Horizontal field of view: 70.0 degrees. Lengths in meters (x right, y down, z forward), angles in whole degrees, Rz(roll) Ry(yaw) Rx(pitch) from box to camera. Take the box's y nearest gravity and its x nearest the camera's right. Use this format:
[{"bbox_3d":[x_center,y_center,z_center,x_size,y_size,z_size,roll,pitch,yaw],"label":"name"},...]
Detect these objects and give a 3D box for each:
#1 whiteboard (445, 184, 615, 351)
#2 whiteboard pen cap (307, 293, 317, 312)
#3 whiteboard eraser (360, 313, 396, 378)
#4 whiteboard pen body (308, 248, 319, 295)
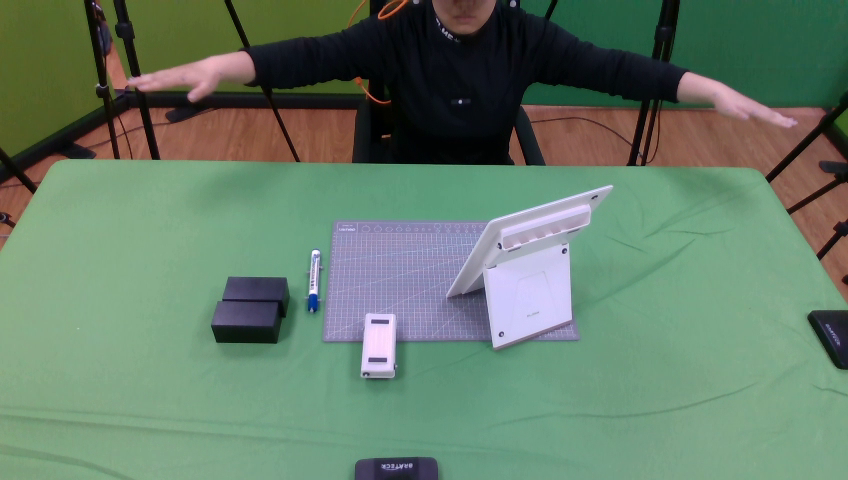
[{"bbox_3d":[0.186,0.065,0.989,0.217,0.306,0.143,-15,68,-18],"label":"whiteboard"},{"bbox_3d":[-0.199,0.110,1.078,0.018,0.018,0.033,-1,48,-5],"label":"whiteboard pen cap"},{"bbox_3d":[-0.075,0.176,1.006,0.055,0.042,0.112,3,50,-4],"label":"whiteboard eraser"},{"bbox_3d":[-0.204,0.069,1.119,0.017,0.017,0.140,-1,46,-5],"label":"whiteboard pen body"}]
